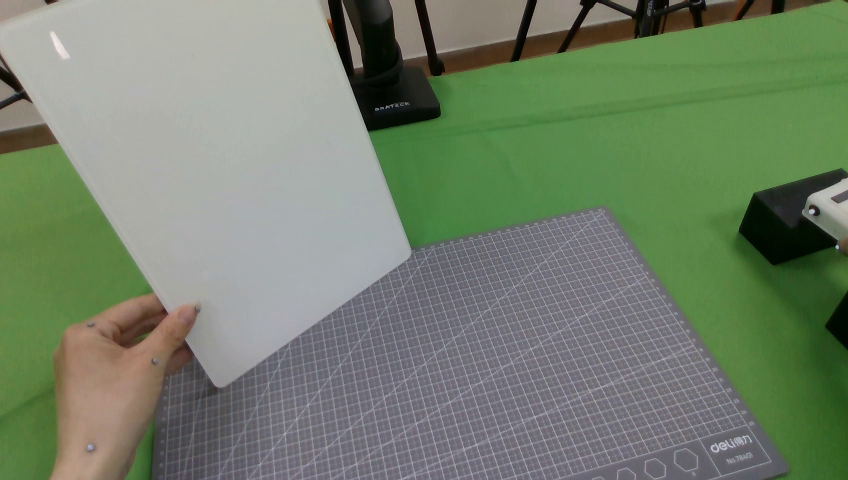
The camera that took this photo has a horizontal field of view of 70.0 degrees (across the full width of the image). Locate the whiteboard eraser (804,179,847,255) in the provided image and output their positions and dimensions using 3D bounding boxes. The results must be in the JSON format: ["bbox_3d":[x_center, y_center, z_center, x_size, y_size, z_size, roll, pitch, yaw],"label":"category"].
[{"bbox_3d":[0.376,-0.005,0.496,0.055,0.042,0.111,-28,43,-2],"label":"whiteboard eraser"}]

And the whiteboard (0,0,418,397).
[{"bbox_3d":[-0.171,-0.066,0.527,0.217,0.308,0.142,-34,31,-25],"label":"whiteboard"}]
